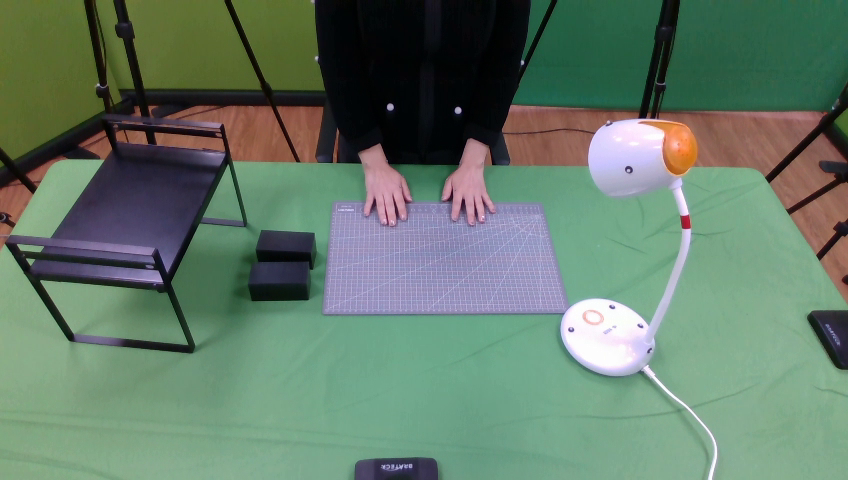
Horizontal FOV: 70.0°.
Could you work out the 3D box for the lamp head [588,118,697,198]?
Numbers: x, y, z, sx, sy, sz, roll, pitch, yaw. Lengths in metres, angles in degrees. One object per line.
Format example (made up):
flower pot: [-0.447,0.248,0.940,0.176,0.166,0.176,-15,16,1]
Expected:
lamp head: [0.304,-0.113,0.823,0.112,0.112,0.122,-26,16,-25]

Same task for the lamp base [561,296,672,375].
lamp base: [0.332,0.119,0.996,0.160,0.181,0.178,-34,59,-30]
